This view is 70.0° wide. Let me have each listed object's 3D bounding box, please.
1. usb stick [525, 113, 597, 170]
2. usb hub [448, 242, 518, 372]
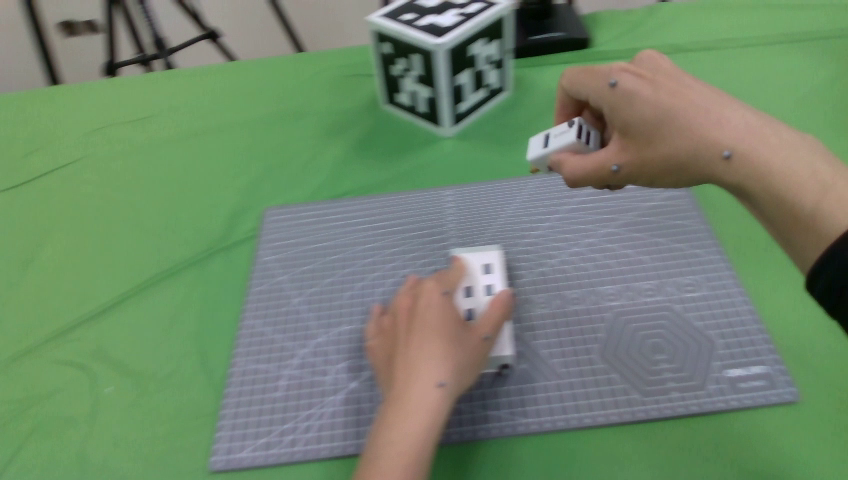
[{"bbox_3d":[0.091,-0.067,0.430,0.027,0.059,0.021,20,67,-30],"label":"usb stick"},{"bbox_3d":[0.049,0.055,0.530,0.049,0.025,0.124,-7,44,4],"label":"usb hub"}]
